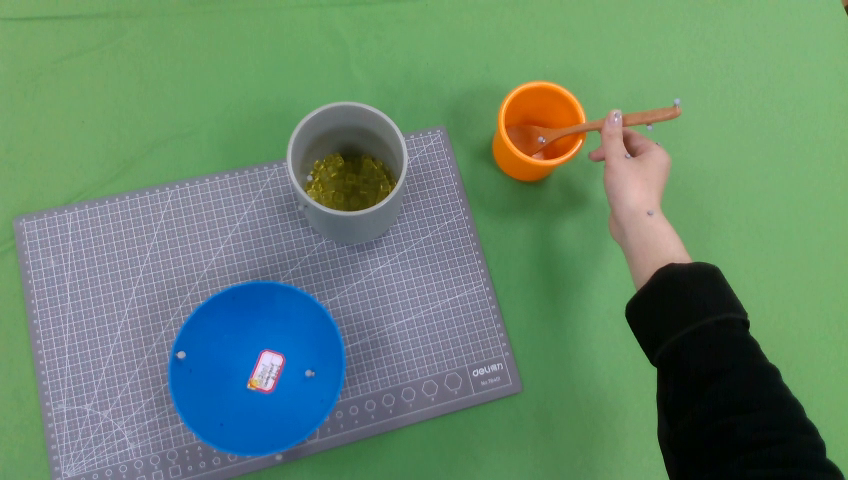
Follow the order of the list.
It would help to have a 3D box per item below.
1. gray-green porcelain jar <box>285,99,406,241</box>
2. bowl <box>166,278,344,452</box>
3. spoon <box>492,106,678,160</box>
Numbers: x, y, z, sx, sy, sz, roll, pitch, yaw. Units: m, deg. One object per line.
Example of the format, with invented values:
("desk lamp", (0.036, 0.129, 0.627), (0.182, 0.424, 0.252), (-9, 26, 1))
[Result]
("gray-green porcelain jar", (-0.073, -0.059, 0.583), (0.106, 0.127, 0.105), (1, 77, -6))
("bowl", (-0.149, 0.115, 0.561), (0.151, 0.077, 0.150), (2, 77, -6))
("spoon", (0.155, -0.111, 0.611), (0.022, 0.192, 0.041), (21, 71, -47))
